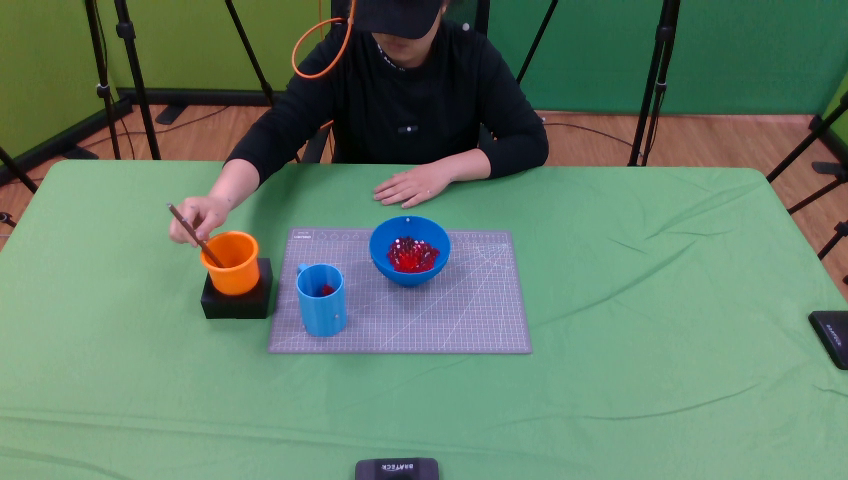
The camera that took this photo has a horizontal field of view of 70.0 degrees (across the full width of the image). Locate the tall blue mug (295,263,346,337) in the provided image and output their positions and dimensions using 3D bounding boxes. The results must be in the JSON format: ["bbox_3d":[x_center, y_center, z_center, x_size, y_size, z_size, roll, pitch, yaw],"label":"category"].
[{"bbox_3d":[-0.187,0.096,1.027,0.107,0.108,0.077,21,49,16],"label":"tall blue mug"}]

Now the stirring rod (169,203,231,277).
[{"bbox_3d":[-0.361,0.003,0.986,0.006,0.177,0.014,-26,45,-2],"label":"stirring rod"}]

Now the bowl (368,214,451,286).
[{"bbox_3d":[-0.027,0.032,1.122,0.151,0.077,0.150,2,46,-2],"label":"bowl"}]
